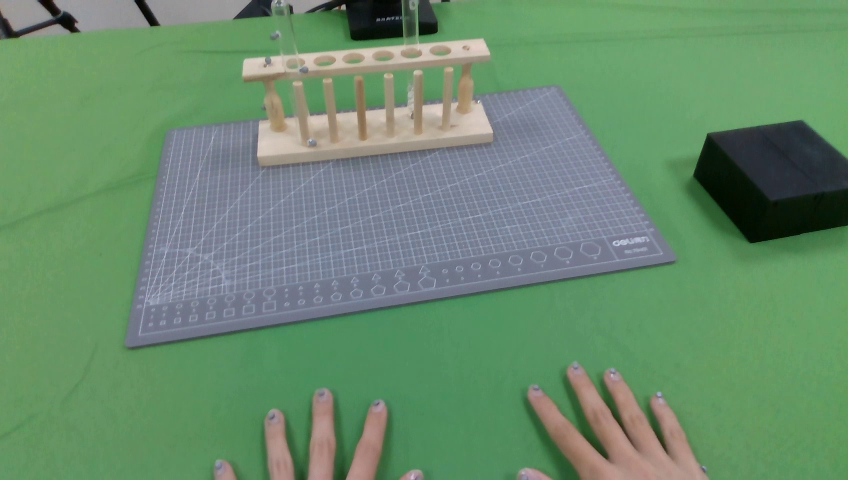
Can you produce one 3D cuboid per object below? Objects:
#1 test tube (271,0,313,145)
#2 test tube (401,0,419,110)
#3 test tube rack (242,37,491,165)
[{"bbox_3d":[-0.122,-0.154,0.569,0.017,0.152,0.017,-1,44,1],"label":"test tube"},{"bbox_3d":[-0.014,-0.198,0.604,0.017,0.151,0.017,-1,41,1],"label":"test tube"},{"bbox_3d":[-0.054,-0.143,0.620,0.243,0.086,0.066,-7,45,-6],"label":"test tube rack"}]
